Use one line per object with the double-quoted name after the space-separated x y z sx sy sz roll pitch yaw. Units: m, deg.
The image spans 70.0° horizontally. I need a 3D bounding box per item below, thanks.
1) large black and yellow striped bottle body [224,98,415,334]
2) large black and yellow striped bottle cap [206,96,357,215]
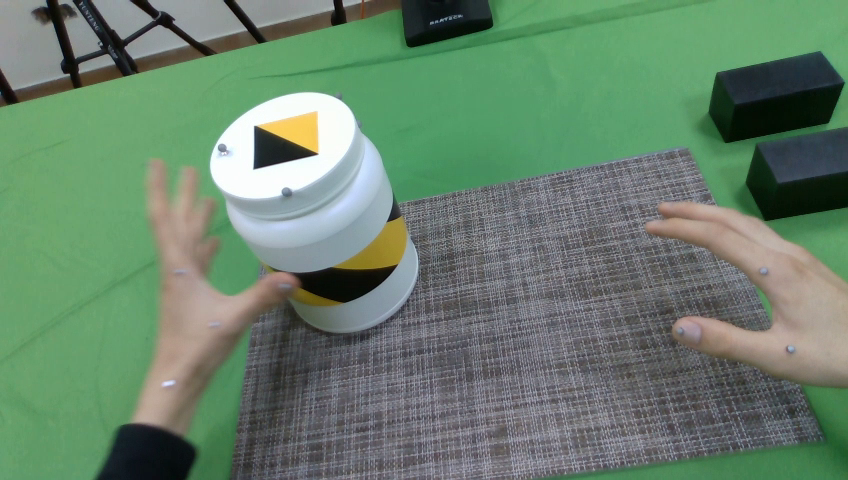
-0.089 -0.017 0.523 0.130 0.186 0.129 -7 51 10 "large black and yellow striped bottle body"
-0.108 -0.067 0.459 0.115 0.019 0.114 -7 51 8 "large black and yellow striped bottle cap"
